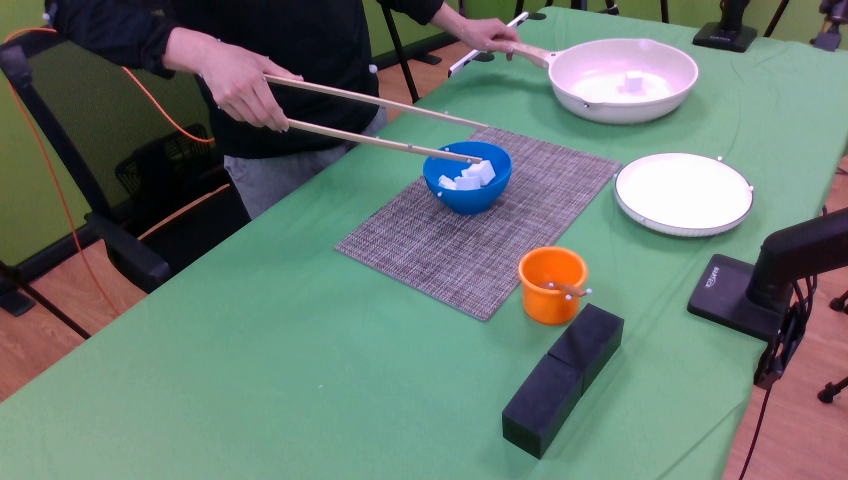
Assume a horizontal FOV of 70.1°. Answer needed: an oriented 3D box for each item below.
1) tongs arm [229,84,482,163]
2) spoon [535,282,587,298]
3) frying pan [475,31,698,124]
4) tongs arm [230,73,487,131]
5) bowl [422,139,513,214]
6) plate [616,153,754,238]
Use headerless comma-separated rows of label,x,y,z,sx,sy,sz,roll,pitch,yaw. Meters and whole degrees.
tongs arm,-0.097,-0.172,0.911,0.386,0.026,0.050,8,83,-11
spoon,0.176,0.063,0.774,0.041,0.194,0.021,-4,85,1
frying pan,0.320,-0.371,1.290,0.485,0.103,0.307,28,50,23
tongs arm,-0.091,-0.205,0.917,0.389,0.028,0.027,9,-4,-10
bowl,0.075,-0.097,1.021,0.151,0.077,0.150,-4,41,4
plate,0.416,-0.069,0.977,0.207,0.039,0.206,-4,40,4
